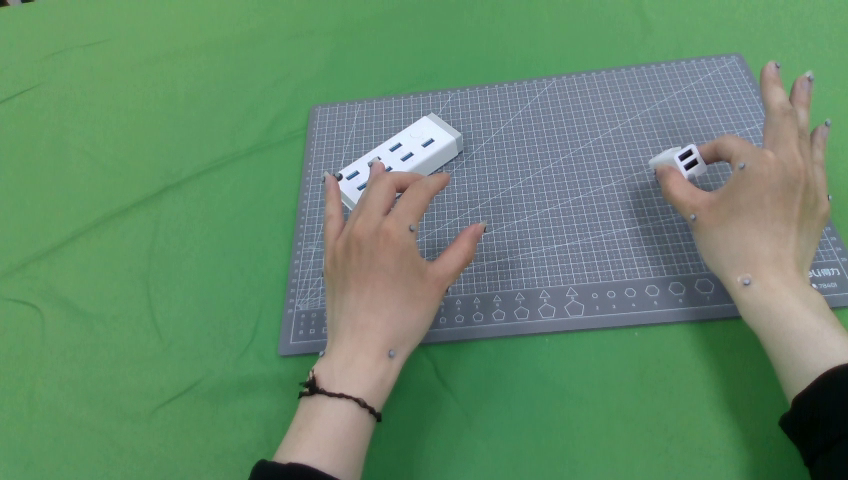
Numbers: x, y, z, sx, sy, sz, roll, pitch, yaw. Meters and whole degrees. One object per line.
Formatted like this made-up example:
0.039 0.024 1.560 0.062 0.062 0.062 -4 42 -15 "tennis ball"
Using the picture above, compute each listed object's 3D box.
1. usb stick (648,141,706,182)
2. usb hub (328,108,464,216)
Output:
0.207 -0.064 0.506 0.021 0.059 0.027 -34 91 -3 "usb stick"
-0.025 -0.076 0.570 0.125 0.025 0.049 -35 56 -17 "usb hub"
